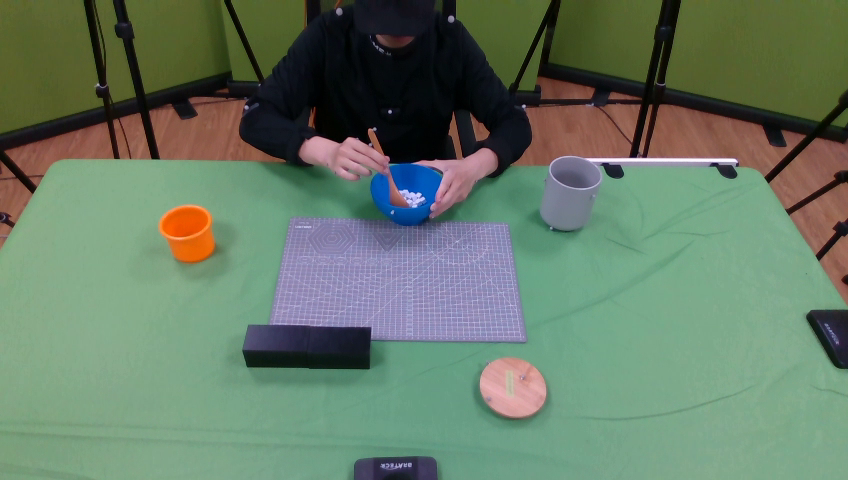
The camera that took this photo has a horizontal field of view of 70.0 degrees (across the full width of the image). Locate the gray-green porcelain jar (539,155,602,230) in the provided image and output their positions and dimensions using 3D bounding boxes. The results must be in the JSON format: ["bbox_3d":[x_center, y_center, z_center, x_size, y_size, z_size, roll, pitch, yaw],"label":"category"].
[{"bbox_3d":[0.294,-0.091,1.235,0.106,0.127,0.105,2,46,-2],"label":"gray-green porcelain jar"}]

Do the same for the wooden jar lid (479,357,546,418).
[{"bbox_3d":[0.142,0.240,0.979,0.108,0.021,0.107,1,46,-1],"label":"wooden jar lid"}]

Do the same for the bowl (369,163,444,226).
[{"bbox_3d":[-0.036,-0.082,1.232,0.151,0.077,0.150,1,43,0],"label":"bowl"}]

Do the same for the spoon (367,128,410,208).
[{"bbox_3d":[-0.072,-0.128,1.169,0.041,0.194,0.021,-6,29,28],"label":"spoon"}]
